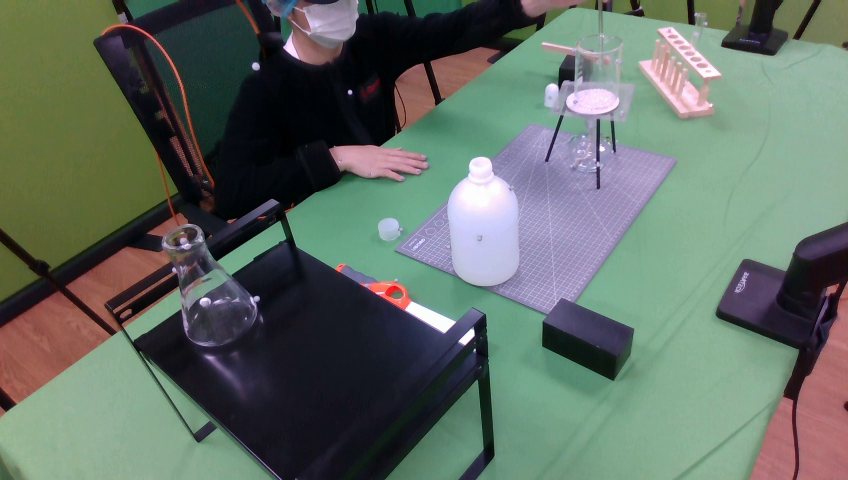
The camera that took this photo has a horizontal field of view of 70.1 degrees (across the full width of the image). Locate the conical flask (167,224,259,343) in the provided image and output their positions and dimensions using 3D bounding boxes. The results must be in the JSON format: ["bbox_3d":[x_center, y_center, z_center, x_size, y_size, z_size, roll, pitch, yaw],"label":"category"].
[{"bbox_3d":[-0.220,0.041,0.613,0.075,0.122,0.075,-5,40,4],"label":"conical flask"}]

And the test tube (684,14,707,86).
[{"bbox_3d":[0.541,-0.379,1.216,0.017,0.151,0.017,-2,43,2],"label":"test tube"}]

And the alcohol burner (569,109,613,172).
[{"bbox_3d":[0.297,-0.181,1.073,0.078,0.119,0.077,-5,43,5],"label":"alcohol burner"}]

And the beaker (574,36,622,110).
[{"bbox_3d":[0.285,-0.273,0.990,0.073,0.101,0.084,15,46,28],"label":"beaker"}]

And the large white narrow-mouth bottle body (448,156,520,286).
[{"bbox_3d":[0.086,-0.032,0.869,0.102,0.195,0.101,-4,40,4],"label":"large white narrow-mouth bottle body"}]

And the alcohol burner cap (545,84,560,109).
[{"bbox_3d":[0.274,-0.307,1.285,0.034,0.048,0.033,-5,42,5],"label":"alcohol burner cap"}]

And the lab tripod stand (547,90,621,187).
[{"bbox_3d":[0.289,-0.184,1.062,0.148,0.132,0.147,-6,41,6],"label":"lab tripod stand"}]

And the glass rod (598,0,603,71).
[{"bbox_3d":[0.273,-0.359,0.933,0.008,0.200,0.008,-7,33,5],"label":"glass rod"}]

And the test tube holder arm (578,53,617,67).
[{"bbox_3d":[0.376,-0.394,1.314,0.087,0.015,0.010,26,50,32],"label":"test tube holder arm"}]

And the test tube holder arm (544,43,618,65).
[{"bbox_3d":[0.345,-0.413,1.341,0.177,0.015,0.013,25,49,32],"label":"test tube holder arm"}]

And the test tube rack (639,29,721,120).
[{"bbox_3d":[0.527,-0.351,1.262,0.067,0.085,0.241,-8,40,1],"label":"test tube rack"}]

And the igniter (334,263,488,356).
[{"bbox_3d":[-0.030,0.095,0.872,0.274,0.025,0.057,23,59,31],"label":"igniter"}]

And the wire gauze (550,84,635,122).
[{"bbox_3d":[0.285,-0.234,1.021,0.124,0.011,0.121,8,41,24],"label":"wire gauze"}]

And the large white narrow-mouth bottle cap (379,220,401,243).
[{"bbox_3d":[-0.057,-0.015,1.011,0.038,0.024,0.037,-4,40,4],"label":"large white narrow-mouth bottle cap"}]
